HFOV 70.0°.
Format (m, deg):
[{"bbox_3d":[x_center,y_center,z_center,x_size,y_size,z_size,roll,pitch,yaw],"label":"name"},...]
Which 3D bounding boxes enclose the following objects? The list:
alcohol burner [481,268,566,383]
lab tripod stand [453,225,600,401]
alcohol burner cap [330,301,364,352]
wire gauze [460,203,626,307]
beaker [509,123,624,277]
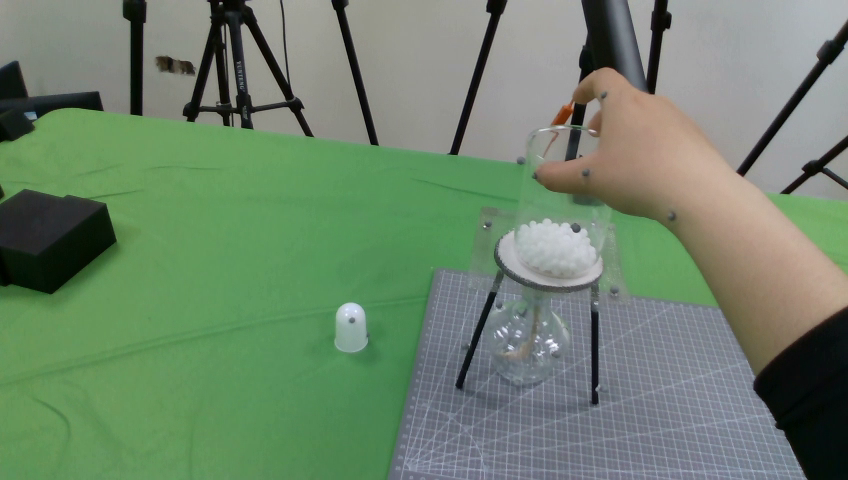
[{"bbox_3d":[0.092,0.070,0.540,0.078,0.120,0.077,4,37,-3],"label":"alcohol burner"},{"bbox_3d":[0.094,0.062,0.535,0.148,0.132,0.147,2,35,-1],"label":"lab tripod stand"},{"bbox_3d":[-0.073,0.080,0.574,0.034,0.048,0.033,4,37,-2],"label":"alcohol burner cap"},{"bbox_3d":[0.096,0.011,0.493,0.121,0.011,0.124,6,37,6],"label":"wire gauze"},{"bbox_3d":[0.105,-0.027,0.463,0.074,0.101,0.083,8,35,7],"label":"beaker"}]
